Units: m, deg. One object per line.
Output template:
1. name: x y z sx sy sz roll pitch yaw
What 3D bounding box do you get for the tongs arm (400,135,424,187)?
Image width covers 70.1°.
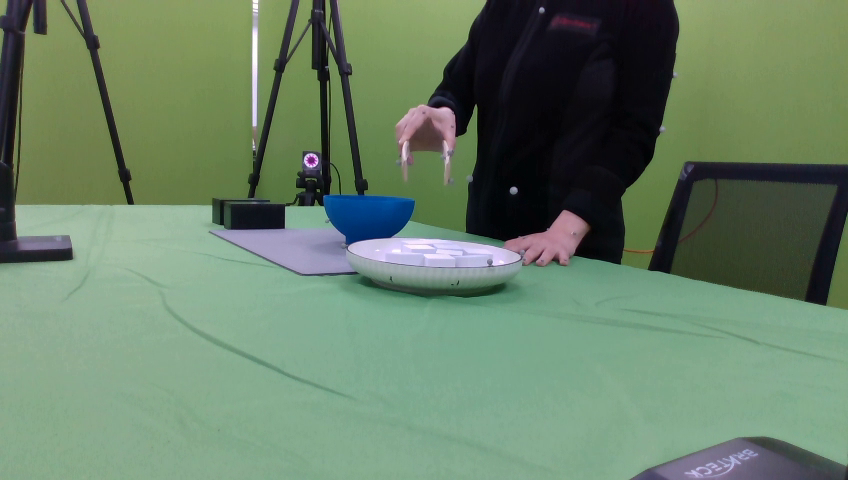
1. tongs arm: -0.017 -0.118 0.846 0.028 0.028 0.387 -4 14 2

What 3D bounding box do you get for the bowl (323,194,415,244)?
1. bowl: -0.090 -0.032 0.986 0.151 0.077 0.151 2 7 0

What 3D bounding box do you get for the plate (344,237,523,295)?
1. plate: 0.010 0.030 0.707 0.208 0.039 0.207 3 8 0

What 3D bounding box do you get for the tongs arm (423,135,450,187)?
1. tongs arm: 0.013 -0.118 0.846 0.051 0.026 0.384 0 15 4
